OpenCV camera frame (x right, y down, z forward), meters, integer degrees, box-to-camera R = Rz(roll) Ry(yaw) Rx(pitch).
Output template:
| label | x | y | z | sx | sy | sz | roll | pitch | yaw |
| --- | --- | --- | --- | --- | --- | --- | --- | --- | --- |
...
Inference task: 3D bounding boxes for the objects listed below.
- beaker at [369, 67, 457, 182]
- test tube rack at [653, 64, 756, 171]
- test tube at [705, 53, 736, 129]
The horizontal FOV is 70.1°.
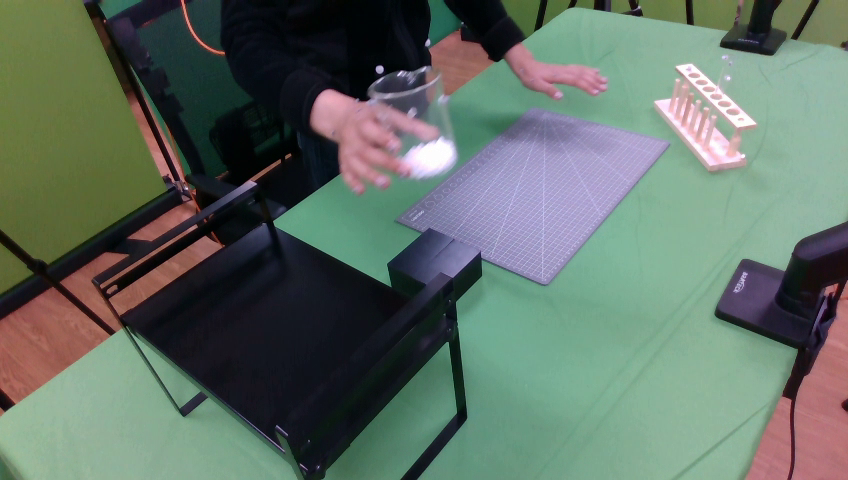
| label | x | y | z | sx | sy | sz | roll | pitch | yaw |
| --- | --- | --- | --- | --- | --- | --- | --- | --- | --- |
| beaker | -0.008 | -0.119 | 0.627 | 0.074 | 0.101 | 0.083 | -8 | 33 | 11 |
| test tube rack | 0.510 | -0.233 | 1.120 | 0.067 | 0.085 | 0.241 | -9 | 41 | -1 |
| test tube | 0.526 | -0.260 | 1.073 | 0.017 | 0.151 | 0.017 | -3 | 44 | 3 |
